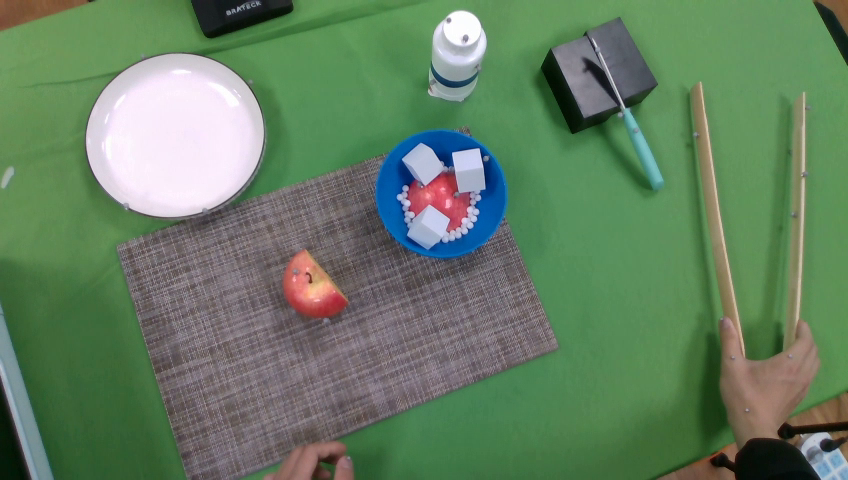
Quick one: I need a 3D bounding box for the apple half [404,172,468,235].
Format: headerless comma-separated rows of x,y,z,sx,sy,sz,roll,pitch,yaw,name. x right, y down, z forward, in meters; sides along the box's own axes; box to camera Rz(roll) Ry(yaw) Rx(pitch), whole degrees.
0.016,-0.046,0.708,0.081,0.033,0.081,0,78,-1,apple half

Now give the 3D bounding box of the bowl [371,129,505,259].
0.014,-0.046,0.713,0.151,0.077,0.150,1,79,-3,bowl

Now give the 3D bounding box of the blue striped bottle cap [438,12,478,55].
0.039,-0.231,0.679,0.044,0.020,0.044,0,82,-1,blue striped bottle cap

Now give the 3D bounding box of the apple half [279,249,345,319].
-0.133,0.057,0.686,0.053,0.075,0.080,-40,88,-6,apple half

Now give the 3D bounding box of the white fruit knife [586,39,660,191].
0.244,-0.153,0.748,0.016,0.027,0.208,-27,99,9,white fruit knife

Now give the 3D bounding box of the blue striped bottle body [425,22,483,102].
0.035,-0.220,0.729,0.063,0.121,0.063,1,78,-3,blue striped bottle body

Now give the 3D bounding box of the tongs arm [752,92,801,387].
0.439,-0.009,0.753,0.051,0.026,0.383,9,77,-2,tongs arm

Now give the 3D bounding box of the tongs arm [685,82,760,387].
0.362,-0.015,0.752,0.028,0.028,0.385,-2,77,-8,tongs arm

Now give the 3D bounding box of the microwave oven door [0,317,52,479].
-0.413,0.226,0.535,0.039,0.244,0.354,-22,81,-7,microwave oven door

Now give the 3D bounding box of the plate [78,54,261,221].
-0.300,-0.120,0.731,0.208,0.039,0.206,1,79,-4,plate

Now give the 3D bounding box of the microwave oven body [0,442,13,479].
-0.565,0.242,0.526,0.326,0.261,0.440,-22,82,-8,microwave oven body
